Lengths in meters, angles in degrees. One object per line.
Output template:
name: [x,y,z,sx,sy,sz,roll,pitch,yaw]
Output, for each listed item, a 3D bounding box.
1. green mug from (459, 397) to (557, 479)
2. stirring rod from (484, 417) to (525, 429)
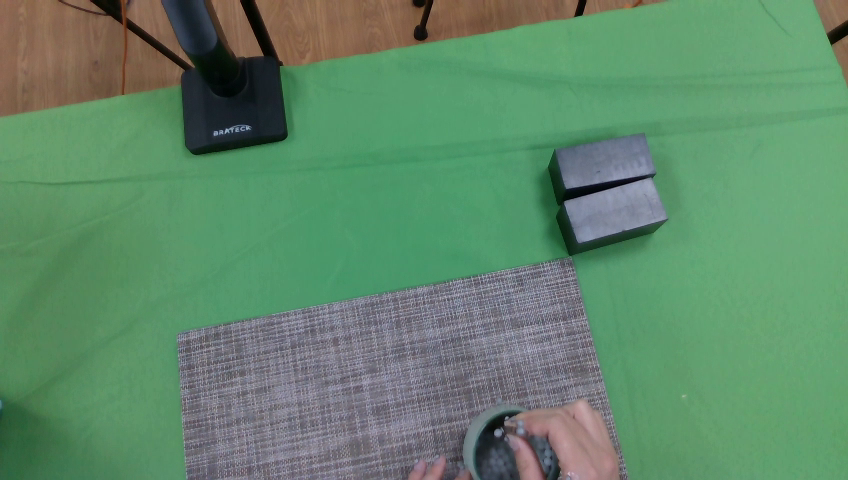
green mug: [0.088,0.211,0.578,0.092,0.105,0.124,-27,75,-6]
stirring rod: [0.067,0.158,0.526,0.014,0.177,0.006,14,74,4]
